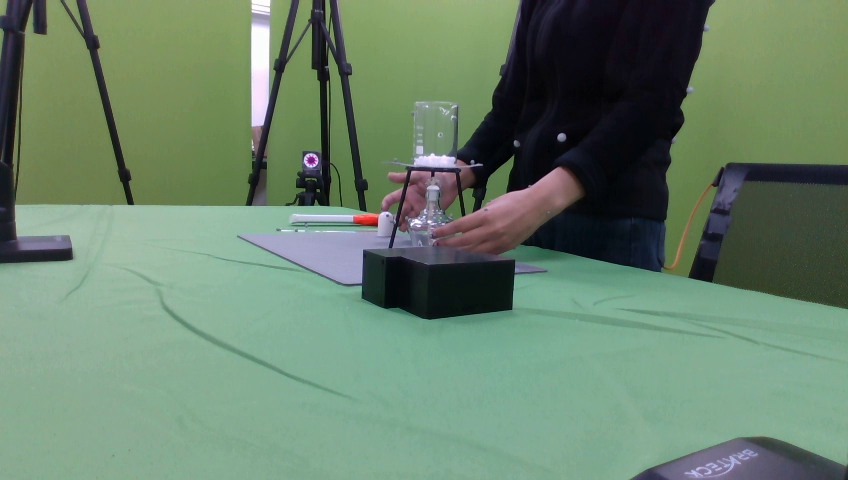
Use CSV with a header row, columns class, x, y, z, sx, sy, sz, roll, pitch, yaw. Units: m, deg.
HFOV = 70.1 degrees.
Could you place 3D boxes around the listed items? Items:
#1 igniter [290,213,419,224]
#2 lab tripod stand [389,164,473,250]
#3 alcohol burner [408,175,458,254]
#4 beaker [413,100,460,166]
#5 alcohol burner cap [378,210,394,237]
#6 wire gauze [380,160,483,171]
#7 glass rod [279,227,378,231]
class,x,y,z,sx,sy,sz,roll,pitch,yaw
igniter,-0.143,-0.046,1.288,0.278,0.025,0.057,-1,-3,-24
lab tripod stand,0.011,-0.054,0.960,0.148,0.131,0.148,2,9,0
alcohol burner,0.014,-0.039,0.926,0.078,0.119,0.078,0,8,0
beaker,0.020,-0.167,0.953,0.073,0.100,0.084,6,9,26
alcohol burner cap,-0.069,-0.031,1.112,0.034,0.048,0.034,2,9,0
wire gauze,0.011,-0.119,0.951,0.122,0.011,0.124,-5,12,-32
glass rod,-0.175,-0.021,1.161,0.200,0.008,0.008,1,7,-15
